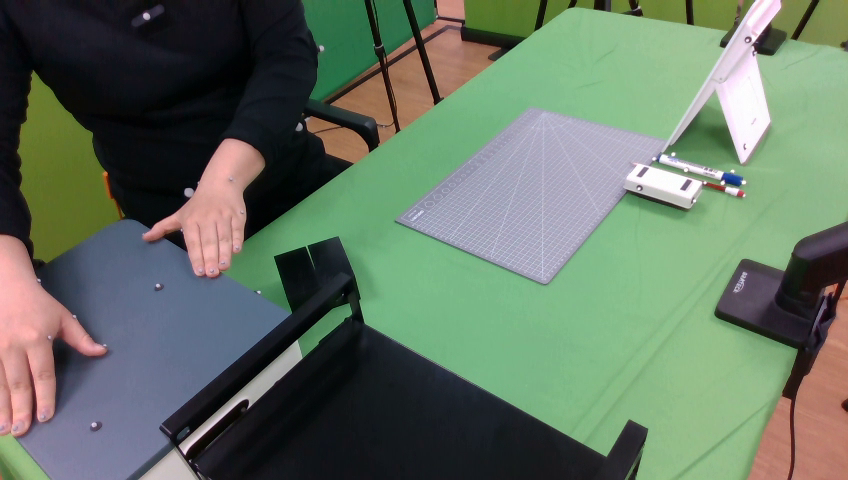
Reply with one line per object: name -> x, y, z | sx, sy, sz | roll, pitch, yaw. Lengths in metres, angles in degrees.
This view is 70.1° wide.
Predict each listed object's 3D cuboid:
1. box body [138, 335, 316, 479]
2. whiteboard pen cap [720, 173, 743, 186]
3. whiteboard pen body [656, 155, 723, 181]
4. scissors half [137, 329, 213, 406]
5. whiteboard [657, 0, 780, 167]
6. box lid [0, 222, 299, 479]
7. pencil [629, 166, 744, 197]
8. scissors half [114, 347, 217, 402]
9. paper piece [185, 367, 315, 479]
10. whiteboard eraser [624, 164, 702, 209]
box body -> -0.339, 0.162, 0.728 | 0.361, 0.161, 0.255 | 23, 49, 31
whiteboard pen cap -> 0.519, -0.103, 1.020 | 0.033, 0.018, 0.018 | 23, 49, 30
whiteboard pen body -> 0.475, -0.122, 1.052 | 0.139, 0.017, 0.017 | 24, 50, 31
scissors half -> -0.336, 0.173, 0.824 | 0.040, 0.013, 0.174 | -35, 54, -30
whiteboard -> 0.571, -0.272, 1.038 | 0.143, 0.306, 0.218 | 37, 54, 17
box lid -> -0.346, 0.107, 0.680 | 0.368, 0.015, 0.264 | 23, 49, 31
pencil -> 0.446, -0.103, 1.038 | 0.192, 0.012, 0.012 | 20, 48, 30
scissors half -> -0.349, 0.185, 0.812 | 0.174, 0.013, 0.040 | 16, 52, 18
paper piece -> -0.222, 0.234, 0.757 | 0.136, 0.009, 0.137 | -39, 36, -23
whiteboard eraser -> 0.396, -0.087, 1.003 | 0.112, 0.042, 0.056 | 22, 48, 31
